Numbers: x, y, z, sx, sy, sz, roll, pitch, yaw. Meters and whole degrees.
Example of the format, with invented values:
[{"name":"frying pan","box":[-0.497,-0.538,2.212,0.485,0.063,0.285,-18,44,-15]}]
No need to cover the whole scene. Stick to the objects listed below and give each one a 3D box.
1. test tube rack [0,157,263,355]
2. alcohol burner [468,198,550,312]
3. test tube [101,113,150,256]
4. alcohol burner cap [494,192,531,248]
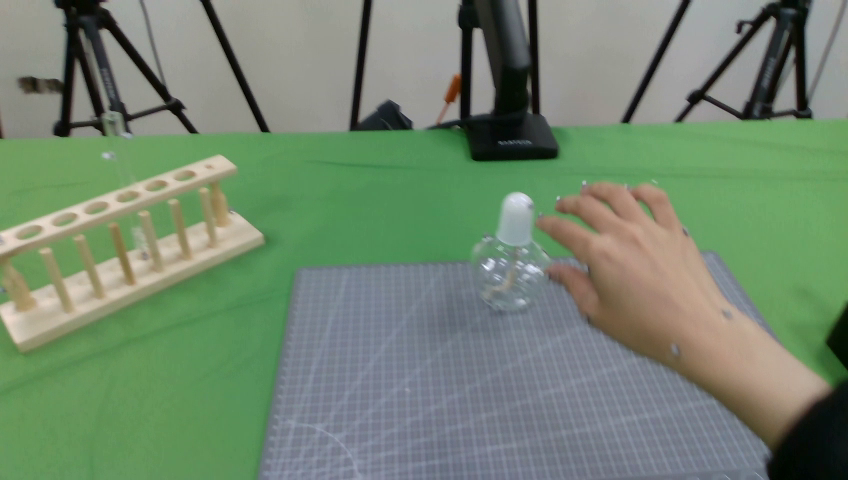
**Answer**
[{"name":"test tube rack","box":[-0.289,0.006,0.595,0.242,0.086,0.066,-29,45,-33]},{"name":"alcohol burner","box":[0.081,0.009,0.566,0.078,0.120,0.077,1,39,0]},{"name":"test tube","box":[-0.287,-0.049,0.586,0.017,0.151,0.017,2,32,-1]},{"name":"alcohol burner cap","box":[0.081,-0.021,0.544,0.034,0.048,0.033,2,36,-1]}]
